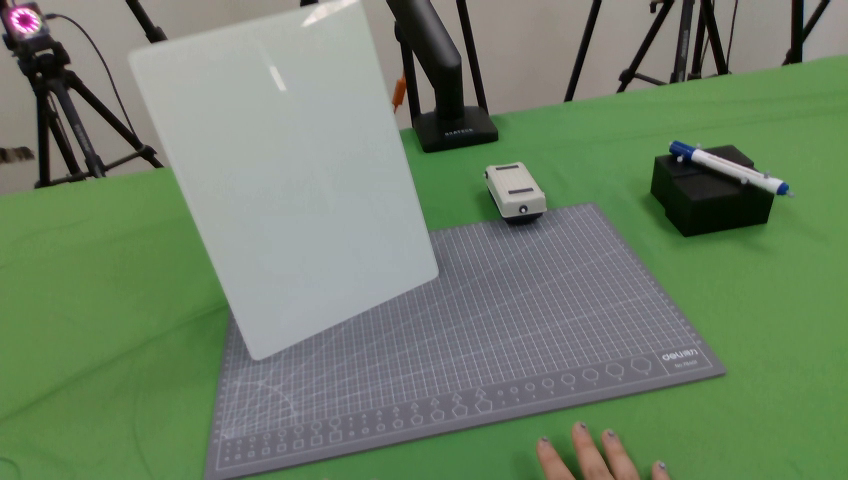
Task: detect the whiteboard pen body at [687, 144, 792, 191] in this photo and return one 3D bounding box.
[{"bbox_3d":[0.350,-0.089,0.693,0.017,0.017,0.139,-26,40,-24],"label":"whiteboard pen body"}]

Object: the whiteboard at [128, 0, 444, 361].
[{"bbox_3d":[-0.139,-0.073,0.639,0.217,0.307,0.142,-24,20,-21],"label":"whiteboard"}]

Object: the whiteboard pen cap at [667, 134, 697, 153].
[{"bbox_3d":[0.313,-0.116,0.735,0.033,0.018,0.018,-11,32,26],"label":"whiteboard pen cap"}]

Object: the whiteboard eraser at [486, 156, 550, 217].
[{"bbox_3d":[0.117,-0.068,0.767,0.055,0.042,0.111,-11,32,-2],"label":"whiteboard eraser"}]
